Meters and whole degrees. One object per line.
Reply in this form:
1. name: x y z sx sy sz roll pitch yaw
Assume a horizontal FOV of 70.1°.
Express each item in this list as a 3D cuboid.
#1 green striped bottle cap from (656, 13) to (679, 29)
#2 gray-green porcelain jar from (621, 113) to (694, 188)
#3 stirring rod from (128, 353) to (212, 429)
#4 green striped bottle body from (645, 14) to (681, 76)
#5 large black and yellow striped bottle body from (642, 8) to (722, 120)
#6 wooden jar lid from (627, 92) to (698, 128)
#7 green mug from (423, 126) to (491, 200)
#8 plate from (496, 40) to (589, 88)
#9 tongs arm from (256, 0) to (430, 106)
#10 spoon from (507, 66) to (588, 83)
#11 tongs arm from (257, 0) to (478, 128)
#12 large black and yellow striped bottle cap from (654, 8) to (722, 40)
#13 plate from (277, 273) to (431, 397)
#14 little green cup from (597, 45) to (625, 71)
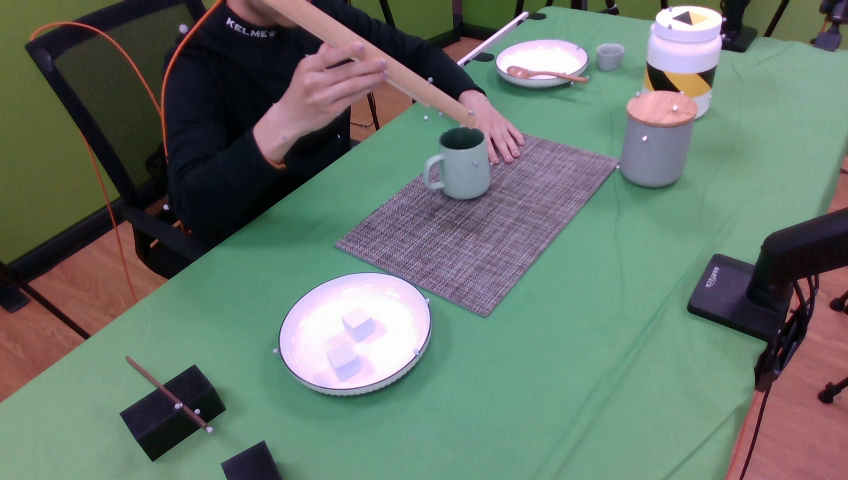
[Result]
1. green striped bottle cap: 0.515 -0.463 1.278 0.044 0.020 0.044 -6 42 5
2. gray-green porcelain jar: 0.390 -0.160 1.020 0.106 0.127 0.105 -4 41 4
3. stirring rod: -0.310 0.180 0.732 0.175 0.014 0.006 25 54 32
4. green striped bottle body: 0.520 -0.424 1.312 0.063 0.120 0.063 -4 41 4
5. large black and yellow striped bottle body: 0.493 -0.334 1.161 0.131 0.185 0.130 -4 41 4
6. wooden jar lid: 0.384 -0.207 0.980 0.108 0.021 0.108 -6 39 5
7. green mug: 0.055 -0.125 1.039 0.126 0.105 0.091 -25 44 -19
8. plate: 0.269 -0.398 1.381 0.209 0.038 0.208 -4 41 4
9. tongs arm: -0.100 -0.270 0.859 0.028 0.391 0.028 43 105 35
10. spoon: 0.265 -0.357 1.311 0.192 0.022 0.042 18 47 38
11. tongs arm: -0.063 -0.241 0.817 0.388 0.026 0.050 20 15 -45
12. large black and yellow striped bottle cap: 0.483 -0.397 1.108 0.115 0.019 0.114 -3 41 3
13. plate: -0.091 0.129 0.821 0.207 0.039 0.206 -4 40 4
14. little green cup: 0.422 -0.413 1.375 0.061 0.039 0.061 -3 41 3
